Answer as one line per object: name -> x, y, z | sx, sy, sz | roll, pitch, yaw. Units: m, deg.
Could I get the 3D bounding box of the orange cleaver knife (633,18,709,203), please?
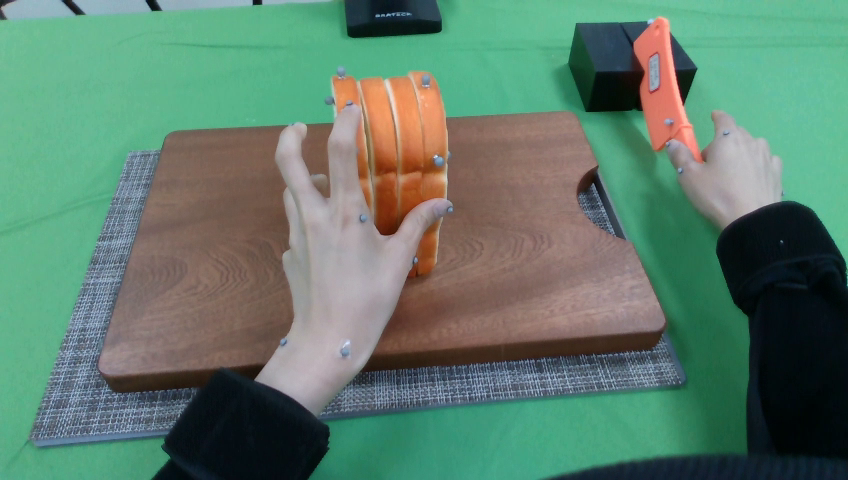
orange cleaver knife -> 0.234, -0.122, 0.589 | 0.012, 0.077, 0.209 | -1, 67, -6

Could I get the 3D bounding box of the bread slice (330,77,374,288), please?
bread slice -> -0.053, -0.049, 0.445 | 0.018, 0.135, 0.106 | -8, 43, -8

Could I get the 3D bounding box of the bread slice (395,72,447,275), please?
bread slice -> -0.004, -0.053, 0.450 | 0.019, 0.132, 0.103 | -4, 47, -11
